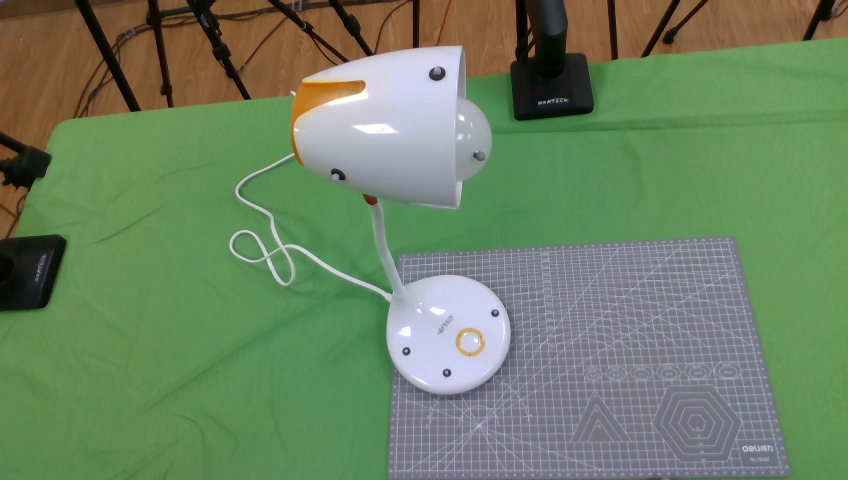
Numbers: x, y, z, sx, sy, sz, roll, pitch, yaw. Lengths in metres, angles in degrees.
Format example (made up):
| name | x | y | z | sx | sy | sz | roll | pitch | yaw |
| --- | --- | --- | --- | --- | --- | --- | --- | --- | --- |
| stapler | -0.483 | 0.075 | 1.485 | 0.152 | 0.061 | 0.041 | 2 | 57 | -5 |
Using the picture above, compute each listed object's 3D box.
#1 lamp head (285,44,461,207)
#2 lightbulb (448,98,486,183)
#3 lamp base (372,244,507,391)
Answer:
| name | x | y | z | sx | sy | sz | roll | pitch | yaw |
| --- | --- | --- | --- | --- | --- | --- | --- | --- | --- |
| lamp head | -0.033 | -0.079 | 0.430 | 0.122 | 0.113 | 0.111 | 0 | 62 | 11 |
| lightbulb | -0.011 | -0.067 | 0.423 | 0.107 | 0.060 | 0.059 | -2 | 62 | 10 |
| lamp base | 0.004 | 0.075 | 0.715 | 0.178 | 0.182 | 0.160 | 20 | 67 | 22 |
